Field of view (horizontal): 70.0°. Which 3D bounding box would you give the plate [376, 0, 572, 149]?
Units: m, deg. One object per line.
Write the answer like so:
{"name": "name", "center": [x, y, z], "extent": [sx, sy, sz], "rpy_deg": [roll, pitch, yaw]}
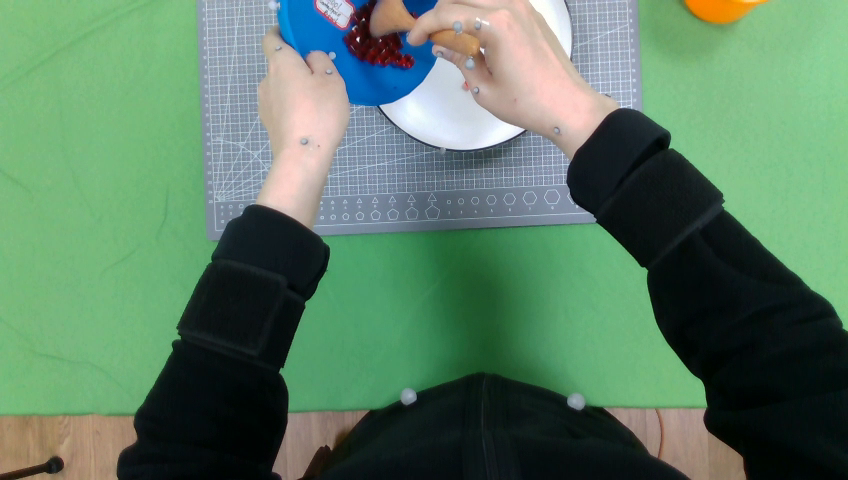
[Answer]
{"name": "plate", "center": [0.040, -0.193, 0.599], "extent": [0.209, 0.038, 0.209], "rpy_deg": [0, 90, 4]}

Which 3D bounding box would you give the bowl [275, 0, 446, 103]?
{"name": "bowl", "center": [-0.064, -0.195, 0.505], "extent": [0.152, 0.076, 0.152], "rpy_deg": [-15, 115, -34]}

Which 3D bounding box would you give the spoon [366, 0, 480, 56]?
{"name": "spoon", "center": [-0.004, -0.159, 0.448], "extent": [0.022, 0.191, 0.041], "rpy_deg": [21, 104, -37]}
